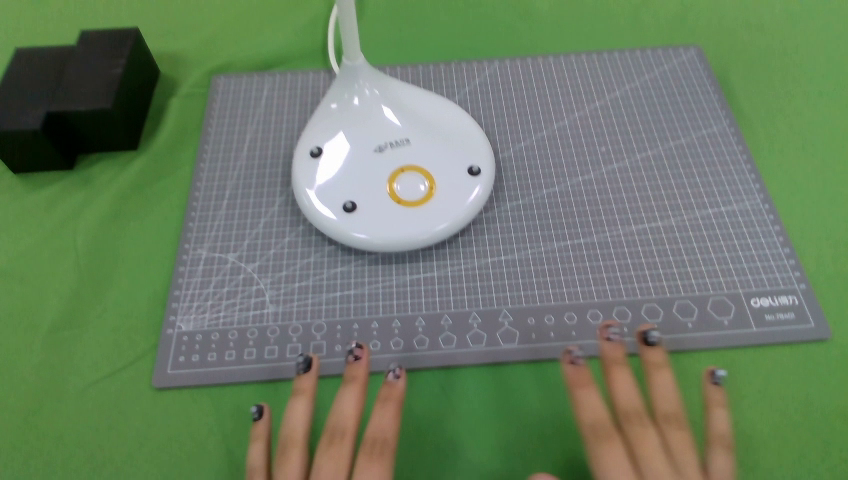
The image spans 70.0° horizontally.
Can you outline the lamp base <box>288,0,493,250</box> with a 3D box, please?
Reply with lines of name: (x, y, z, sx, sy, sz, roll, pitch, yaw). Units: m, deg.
lamp base: (-0.036, -0.111, 0.417, 0.161, 0.182, 0.177, -28, 58, -15)
